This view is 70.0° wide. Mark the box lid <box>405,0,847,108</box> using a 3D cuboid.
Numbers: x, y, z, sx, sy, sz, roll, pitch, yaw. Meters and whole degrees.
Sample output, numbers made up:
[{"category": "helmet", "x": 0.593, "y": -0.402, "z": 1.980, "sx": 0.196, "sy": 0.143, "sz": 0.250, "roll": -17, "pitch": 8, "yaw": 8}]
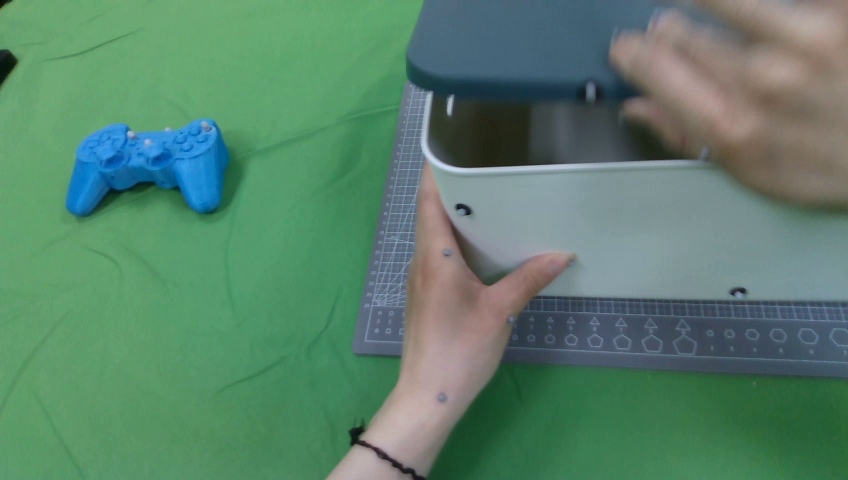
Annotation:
[{"category": "box lid", "x": 0.183, "y": -0.155, "z": 0.350, "sx": 0.371, "sy": 0.015, "sz": 0.261, "roll": 1, "pitch": 45, "yaw": 10}]

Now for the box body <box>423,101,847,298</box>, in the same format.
[{"category": "box body", "x": 0.199, "y": -0.099, "z": 0.426, "sx": 0.363, "sy": 0.162, "sz": 0.252, "roll": 0, "pitch": 56, "yaw": 10}]

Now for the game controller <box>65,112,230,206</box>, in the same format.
[{"category": "game controller", "x": -0.259, "y": -0.080, "z": 0.569, "sx": 0.155, "sy": 0.052, "sz": 0.096, "roll": 1, "pitch": 52, "yaw": 10}]
